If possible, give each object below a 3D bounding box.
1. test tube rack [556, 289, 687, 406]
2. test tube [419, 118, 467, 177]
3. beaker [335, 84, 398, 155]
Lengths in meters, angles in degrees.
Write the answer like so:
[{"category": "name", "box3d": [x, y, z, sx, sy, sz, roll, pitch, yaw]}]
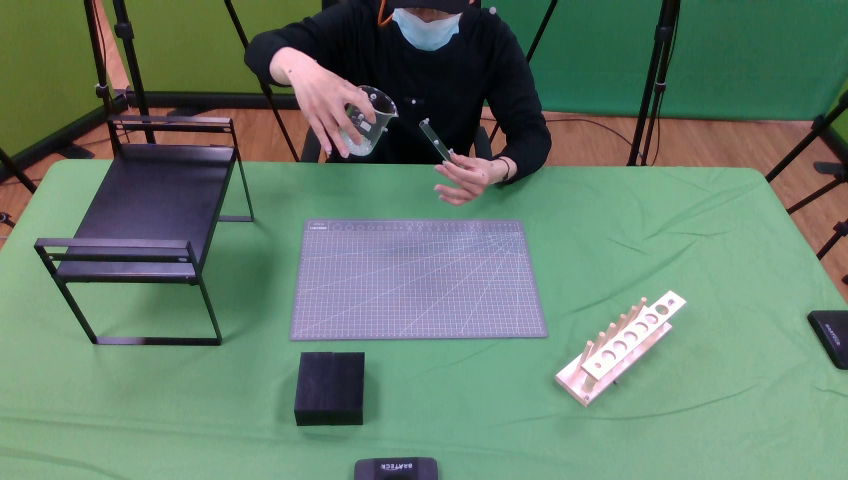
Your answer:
[{"category": "test tube rack", "box3d": [0.332, 0.165, 1.014, 0.242, 0.085, 0.066, -31, 55, -28]}, {"category": "test tube", "box3d": [0.037, -0.168, 1.113, 0.017, 0.151, 0.017, -24, 41, 23]}, {"category": "beaker", "box3d": [-0.100, -0.202, 1.036, 0.084, 0.100, 0.073, 27, 37, -13]}]
